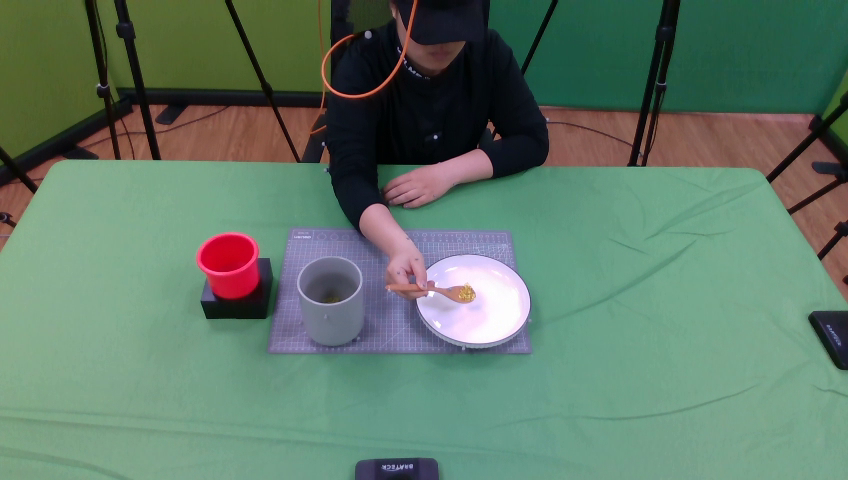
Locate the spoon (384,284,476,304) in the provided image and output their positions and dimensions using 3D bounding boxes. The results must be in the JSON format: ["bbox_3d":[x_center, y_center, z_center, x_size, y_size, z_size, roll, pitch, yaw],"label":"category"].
[{"bbox_3d":[0.013,0.084,1.013,0.195,0.021,0.041,12,39,-41],"label":"spoon"}]

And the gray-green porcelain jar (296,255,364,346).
[{"bbox_3d":[-0.153,0.106,1.008,0.106,0.127,0.105,2,46,-2],"label":"gray-green porcelain jar"}]

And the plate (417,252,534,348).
[{"bbox_3d":[0.090,0.109,1.084,0.208,0.039,0.206,2,46,-2],"label":"plate"}]
